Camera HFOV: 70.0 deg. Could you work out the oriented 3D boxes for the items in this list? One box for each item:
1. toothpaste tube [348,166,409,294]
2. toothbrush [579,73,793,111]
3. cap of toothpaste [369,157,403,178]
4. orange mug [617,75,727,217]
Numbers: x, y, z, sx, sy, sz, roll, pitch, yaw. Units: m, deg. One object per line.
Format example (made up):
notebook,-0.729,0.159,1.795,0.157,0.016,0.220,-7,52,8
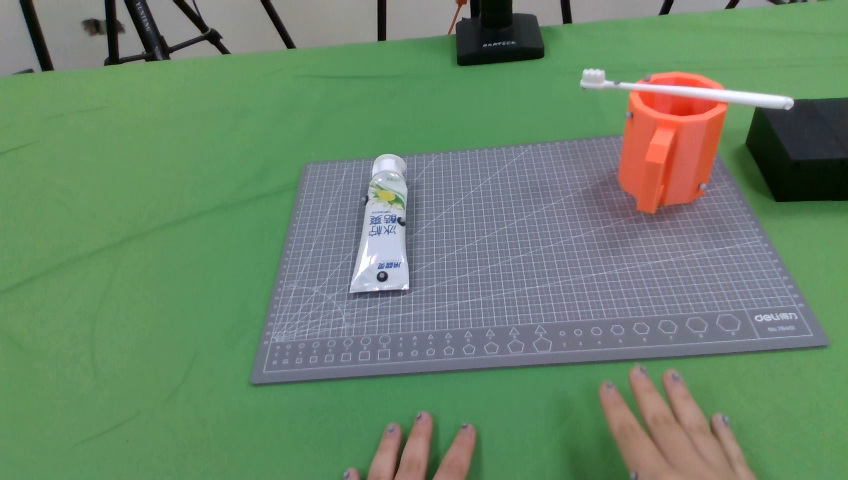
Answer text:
toothpaste tube,-0.042,-0.014,0.590,0.055,0.035,0.163,-8,47,7
toothbrush,0.231,-0.133,0.545,0.181,0.017,0.014,12,41,21
cap of toothpaste,-0.040,-0.072,0.640,0.037,0.038,0.011,-2,50,6
orange mug,0.227,-0.083,0.570,0.083,0.102,0.126,16,44,24
